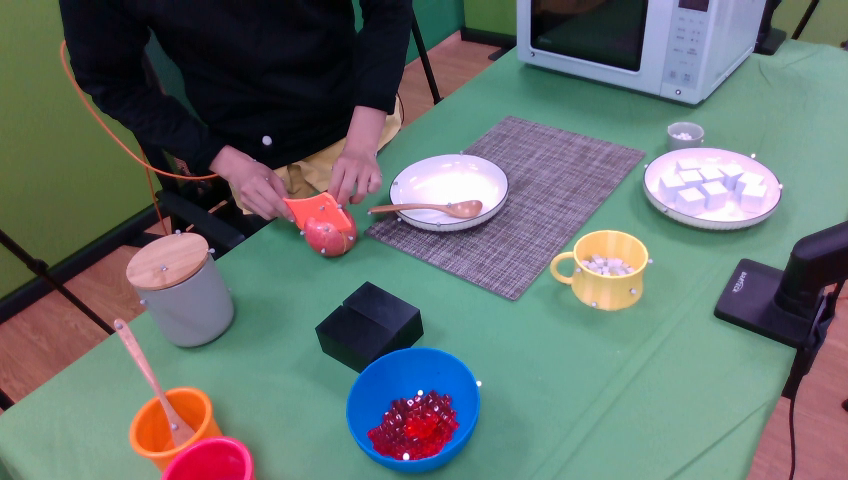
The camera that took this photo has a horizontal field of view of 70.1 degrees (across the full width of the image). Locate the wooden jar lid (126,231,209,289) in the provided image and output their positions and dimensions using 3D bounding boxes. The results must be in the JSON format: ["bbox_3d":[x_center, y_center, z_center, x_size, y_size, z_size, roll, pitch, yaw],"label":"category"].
[{"bbox_3d":[-0.340,0.030,0.808,0.108,0.021,0.108,-5,39,5],"label":"wooden jar lid"}]

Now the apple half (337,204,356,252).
[{"bbox_3d":[-0.142,-0.024,0.981,0.080,0.075,0.053,16,41,32],"label":"apple half"}]

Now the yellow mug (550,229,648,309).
[{"bbox_3d":[0.245,0.040,0.857,0.130,0.064,0.099,1,42,11],"label":"yellow mug"}]

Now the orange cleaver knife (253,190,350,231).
[{"bbox_3d":[-0.199,-0.046,0.965,0.209,0.077,0.012,5,37,40],"label":"orange cleaver knife"}]

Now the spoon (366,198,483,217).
[{"bbox_3d":[0.001,-0.056,0.997,0.194,0.022,0.041,1,52,-9],"label":"spoon"}]

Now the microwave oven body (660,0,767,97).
[{"bbox_3d":[0.473,-0.517,1.314,0.438,0.261,0.327,26,51,34],"label":"microwave oven body"}]

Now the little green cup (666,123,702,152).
[{"bbox_3d":[0.472,-0.183,1.103,0.061,0.039,0.061,-5,40,5],"label":"little green cup"}]

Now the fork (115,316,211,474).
[{"bbox_3d":[-0.308,0.179,0.708,0.028,0.018,0.207,-30,89,-21],"label":"fork"}]

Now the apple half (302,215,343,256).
[{"bbox_3d":[-0.165,0.001,0.954,0.081,0.081,0.033,19,48,27],"label":"apple half"}]

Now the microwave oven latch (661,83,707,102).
[{"bbox_3d":[0.516,-0.298,1.202,0.078,0.029,0.030,25,51,33],"label":"microwave oven latch"}]

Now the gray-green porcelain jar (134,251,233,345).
[{"bbox_3d":[-0.334,0.076,0.849,0.106,0.127,0.105,-4,41,4],"label":"gray-green porcelain jar"}]

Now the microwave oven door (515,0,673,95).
[{"bbox_3d":[0.344,-0.458,1.256,0.353,0.245,0.039,26,51,33],"label":"microwave oven door"}]

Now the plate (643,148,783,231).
[{"bbox_3d":[0.464,-0.079,0.986,0.207,0.039,0.206,-4,40,4],"label":"plate"}]

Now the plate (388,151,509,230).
[{"bbox_3d":[0.044,-0.082,1.042,0.209,0.038,0.208,-4,40,4],"label":"plate"}]

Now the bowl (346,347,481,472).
[{"bbox_3d":[-0.008,0.205,0.691,0.151,0.077,0.150,-4,40,4],"label":"bowl"}]
